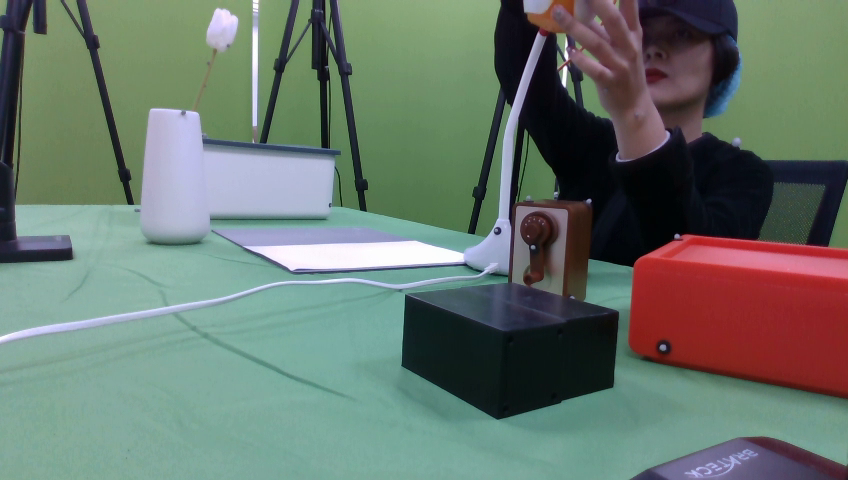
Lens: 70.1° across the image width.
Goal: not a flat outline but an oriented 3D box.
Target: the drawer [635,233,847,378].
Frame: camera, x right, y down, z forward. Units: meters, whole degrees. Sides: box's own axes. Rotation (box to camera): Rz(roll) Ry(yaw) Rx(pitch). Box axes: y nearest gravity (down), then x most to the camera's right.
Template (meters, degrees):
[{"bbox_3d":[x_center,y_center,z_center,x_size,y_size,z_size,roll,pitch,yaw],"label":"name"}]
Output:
[{"bbox_3d":[0.292,0.044,0.488,0.193,0.073,0.213,7,9,30],"label":"drawer"}]

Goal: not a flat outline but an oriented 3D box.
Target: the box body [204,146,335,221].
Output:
[{"bbox_3d":[-0.411,-0.135,1.386,0.366,0.160,0.253,-2,9,-29],"label":"box body"}]

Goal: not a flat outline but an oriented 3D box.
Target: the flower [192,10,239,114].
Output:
[{"bbox_3d":[-0.354,-0.174,0.915,0.038,0.361,0.044,18,-3,12],"label":"flower"}]

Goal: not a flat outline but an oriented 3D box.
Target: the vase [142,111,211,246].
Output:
[{"bbox_3d":[-0.378,-0.093,0.920,0.098,0.200,0.098,2,9,0],"label":"vase"}]

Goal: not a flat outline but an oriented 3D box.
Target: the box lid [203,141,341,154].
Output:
[{"bbox_3d":[-0.396,-0.212,1.373,0.373,0.015,0.262,-1,9,-29],"label":"box lid"}]

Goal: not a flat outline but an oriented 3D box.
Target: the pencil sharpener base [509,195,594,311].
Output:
[{"bbox_3d":[0.126,0.011,0.601,0.061,0.107,0.077,7,9,30],"label":"pencil sharpener base"}]

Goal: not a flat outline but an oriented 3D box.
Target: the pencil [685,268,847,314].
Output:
[{"bbox_3d":[0.308,0.045,0.516,0.194,0.012,0.012,13,5,-11],"label":"pencil"}]

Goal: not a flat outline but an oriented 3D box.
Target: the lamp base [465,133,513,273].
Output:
[{"bbox_3d":[0.133,-0.052,0.808,0.160,0.180,0.180,6,12,26],"label":"lamp base"}]

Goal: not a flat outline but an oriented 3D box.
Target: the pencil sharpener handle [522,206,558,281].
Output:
[{"bbox_3d":[0.102,0.003,0.555,0.036,0.067,0.031,0,5,31],"label":"pencil sharpener handle"}]

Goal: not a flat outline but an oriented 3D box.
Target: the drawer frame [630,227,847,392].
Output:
[{"bbox_3d":[0.292,0.043,0.485,0.201,0.082,0.214,7,9,29],"label":"drawer frame"}]

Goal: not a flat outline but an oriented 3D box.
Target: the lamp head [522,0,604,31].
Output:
[{"bbox_3d":[0.149,-0.282,0.629,0.112,0.123,0.112,13,18,-4],"label":"lamp head"}]
